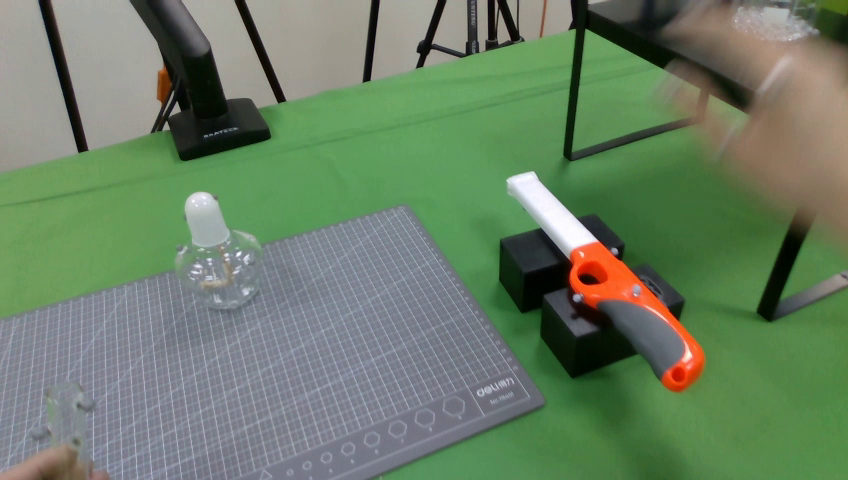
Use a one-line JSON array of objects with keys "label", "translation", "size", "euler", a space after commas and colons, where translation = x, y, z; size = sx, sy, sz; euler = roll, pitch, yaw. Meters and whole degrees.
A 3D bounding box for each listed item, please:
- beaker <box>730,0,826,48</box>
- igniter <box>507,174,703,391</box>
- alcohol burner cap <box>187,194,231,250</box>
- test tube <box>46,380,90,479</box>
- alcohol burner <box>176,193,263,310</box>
[{"label": "beaker", "translation": [0.314, -0.228, 0.530], "size": [0.084, 0.101, 0.073], "euler": [5, 40, 12]}, {"label": "igniter", "translation": [0.140, 0.019, 0.510], "size": [0.057, 0.025, 0.273], "euler": [-16, 39, -10]}, {"label": "alcohol burner cap", "translation": [-0.191, -0.019, 0.533], "size": [0.034, 0.048, 0.033], "euler": [0, 37, 0]}, {"label": "test tube", "translation": [-0.185, 0.137, 0.320], "size": [0.017, 0.151, 0.017], "euler": [10, 25, -4]}, {"label": "alcohol burner", "translation": [-0.189, 0.006, 0.552], "size": [0.078, 0.120, 0.077], "euler": [-1, 40, 1]}]
